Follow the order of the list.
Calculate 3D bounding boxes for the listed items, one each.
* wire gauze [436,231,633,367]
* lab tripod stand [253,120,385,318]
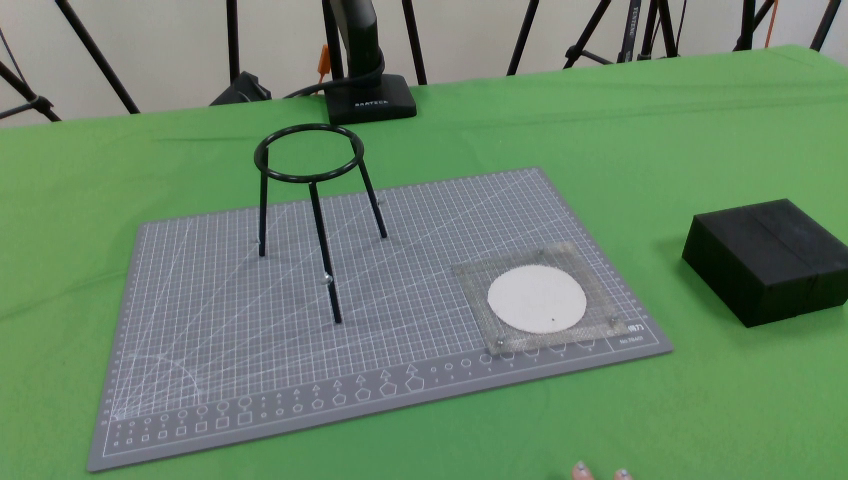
[{"bbox_3d":[0.094,0.042,0.524,0.122,0.011,0.123,-20,49,-25],"label":"wire gauze"},{"bbox_3d":[-0.092,-0.025,0.536,0.148,0.132,0.147,1,40,0],"label":"lab tripod stand"}]
